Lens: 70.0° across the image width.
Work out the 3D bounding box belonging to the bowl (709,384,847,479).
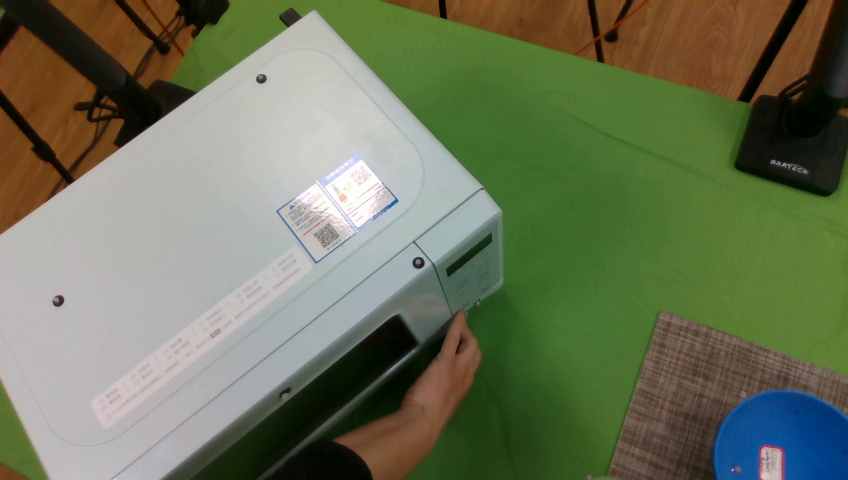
[{"bbox_3d":[0.363,0.228,0.622,0.151,0.077,0.150,-2,70,7],"label":"bowl"}]

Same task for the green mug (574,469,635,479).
[{"bbox_3d":[0.181,0.267,0.536,0.092,0.105,0.124,-40,75,-10],"label":"green mug"}]

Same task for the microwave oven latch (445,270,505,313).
[{"bbox_3d":[0.060,0.054,0.729,0.079,0.030,0.030,-33,70,-4],"label":"microwave oven latch"}]

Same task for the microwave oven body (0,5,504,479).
[{"bbox_3d":[-0.181,0.028,0.666,0.441,0.262,0.323,-39,71,-6],"label":"microwave oven body"}]

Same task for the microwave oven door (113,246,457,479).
[{"bbox_3d":[-0.124,0.157,0.608,0.356,0.245,0.039,-39,69,-7],"label":"microwave oven door"}]
